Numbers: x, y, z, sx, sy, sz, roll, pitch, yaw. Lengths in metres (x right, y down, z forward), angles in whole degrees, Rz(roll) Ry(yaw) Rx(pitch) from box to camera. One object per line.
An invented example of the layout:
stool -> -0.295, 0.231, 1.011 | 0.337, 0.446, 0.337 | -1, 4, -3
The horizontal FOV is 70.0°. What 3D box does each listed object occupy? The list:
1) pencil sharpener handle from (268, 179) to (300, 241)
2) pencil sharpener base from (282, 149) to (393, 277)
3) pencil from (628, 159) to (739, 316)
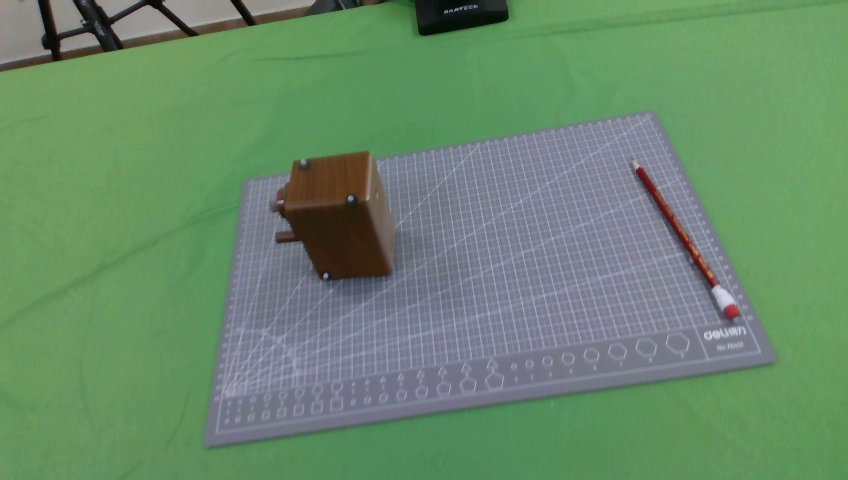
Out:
pencil sharpener handle -> -0.127, -0.023, 0.535 | 0.030, 0.068, 0.035 | -6, 50, 6
pencil sharpener base -> -0.074, -0.021, 0.540 | 0.076, 0.108, 0.061 | -6, 51, 6
pencil -> 0.225, -0.011, 0.541 | 0.012, 0.012, 0.192 | -16, 49, -1
